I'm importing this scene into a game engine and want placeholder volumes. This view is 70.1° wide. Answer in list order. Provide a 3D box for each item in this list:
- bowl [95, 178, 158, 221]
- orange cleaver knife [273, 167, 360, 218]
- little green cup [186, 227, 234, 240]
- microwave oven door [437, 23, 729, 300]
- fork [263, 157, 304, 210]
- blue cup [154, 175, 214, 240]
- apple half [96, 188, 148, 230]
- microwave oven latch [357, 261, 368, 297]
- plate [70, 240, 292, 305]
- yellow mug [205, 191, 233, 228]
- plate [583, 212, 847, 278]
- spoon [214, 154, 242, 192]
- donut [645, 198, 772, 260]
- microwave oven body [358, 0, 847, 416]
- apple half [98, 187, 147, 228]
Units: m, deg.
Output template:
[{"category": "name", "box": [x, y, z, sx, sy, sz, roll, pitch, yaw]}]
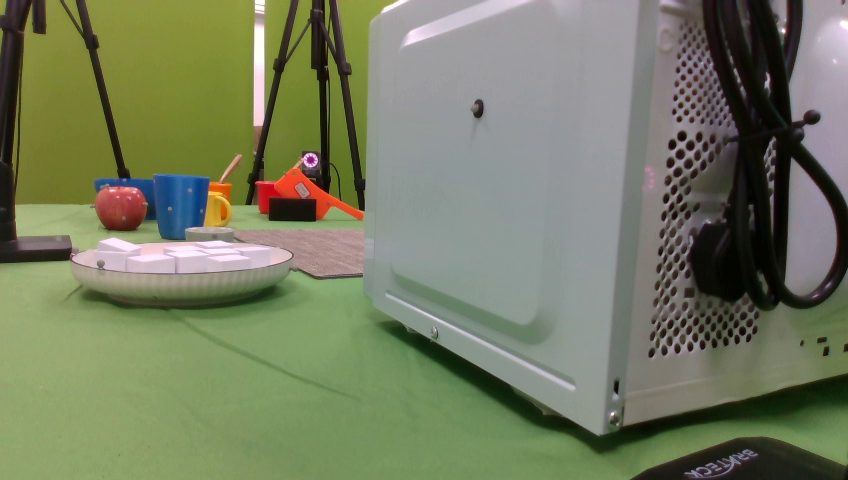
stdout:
[{"category": "bowl", "box": [-0.576, -0.081, 1.217, 0.151, 0.077, 0.151, 3, 8, 0]}, {"category": "orange cleaver knife", "box": [-0.238, -0.091, 1.381, 0.212, 0.077, 0.012, 31, 0, -19]}, {"category": "little green cup", "box": [-0.284, 0.005, 0.805, 0.061, 0.038, 0.061, 2, 8, 0]}, {"category": "microwave oven door", "box": [0.181, -0.072, 0.621, 0.358, 0.243, 0.039, -2, 8, -29]}, {"category": "fork", "box": [-0.345, -0.143, 1.505, 0.028, 0.019, 0.207, -4, 46, 28]}, {"category": "blue cup", "box": [-0.390, -0.053, 0.978, 0.093, 0.100, 0.092, 3, 6, 0]}, {"category": "apple half", "box": [-0.517, -0.052, 1.036, 0.081, 0.074, 0.053, 2, 10, -26]}, {"category": "microwave oven latch", "box": [-0.019, 0.033, 0.530, 0.079, 0.029, 0.030, -1, 7, -27]}, {"category": "plate", "box": [-0.242, 0.031, 0.618, 0.208, 0.039, 0.207, 2, 8, 0]}, {"category": "yellow mug", "box": [-0.415, -0.057, 1.132, 0.130, 0.064, 0.100, 6, 8, 16]}, {"category": "plate", "box": [0.239, 0.001, 0.510, 0.209, 0.038, 0.209, 2, 6, 0]}, {"category": "spoon", "box": [-0.439, -0.124, 1.318, 0.041, 0.193, 0.022, 5, -37, 16]}, {"category": "donut", "box": [0.239, -0.008, 0.513, 0.099, 0.048, 0.099, 10, 1, 0]}, {"category": "microwave oven body", "box": [0.211, -0.047, 0.474, 0.444, 0.260, 0.324, -1, 7, -28]}, {"category": "apple half", "box": [-0.533, -0.059, 1.071, 0.082, 0.081, 0.032, -1, 11, -25]}]
